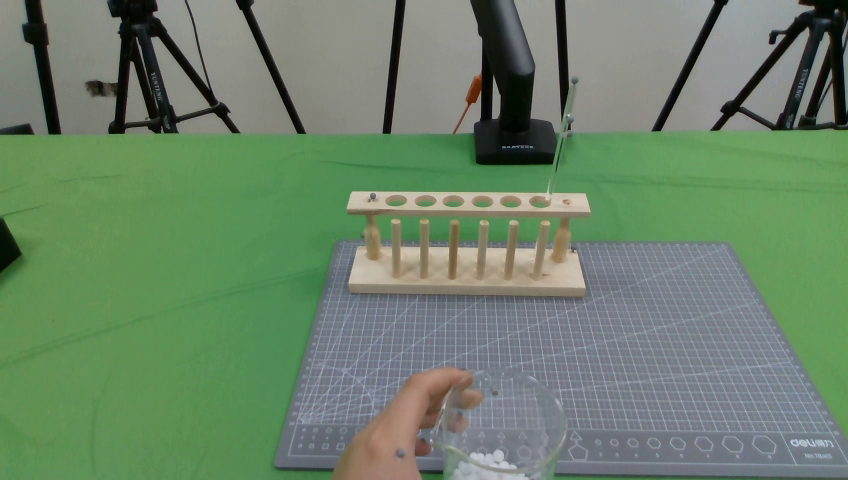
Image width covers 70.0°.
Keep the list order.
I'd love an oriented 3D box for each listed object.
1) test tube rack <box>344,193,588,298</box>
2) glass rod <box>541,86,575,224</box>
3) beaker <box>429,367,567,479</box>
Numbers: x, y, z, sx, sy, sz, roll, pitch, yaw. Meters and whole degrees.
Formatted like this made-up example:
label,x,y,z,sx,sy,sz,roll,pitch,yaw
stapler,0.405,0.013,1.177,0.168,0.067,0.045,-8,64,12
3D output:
label,x,y,z,sx,sy,sz,roll,pitch,yaw
test tube rack,0.041,0.005,0.625,0.242,0.086,0.066,1,36,3
glass rod,0.125,-0.055,0.592,0.008,0.201,0.008,2,37,-1
beaker,0.043,0.144,0.387,0.084,0.101,0.073,-11,38,-15
